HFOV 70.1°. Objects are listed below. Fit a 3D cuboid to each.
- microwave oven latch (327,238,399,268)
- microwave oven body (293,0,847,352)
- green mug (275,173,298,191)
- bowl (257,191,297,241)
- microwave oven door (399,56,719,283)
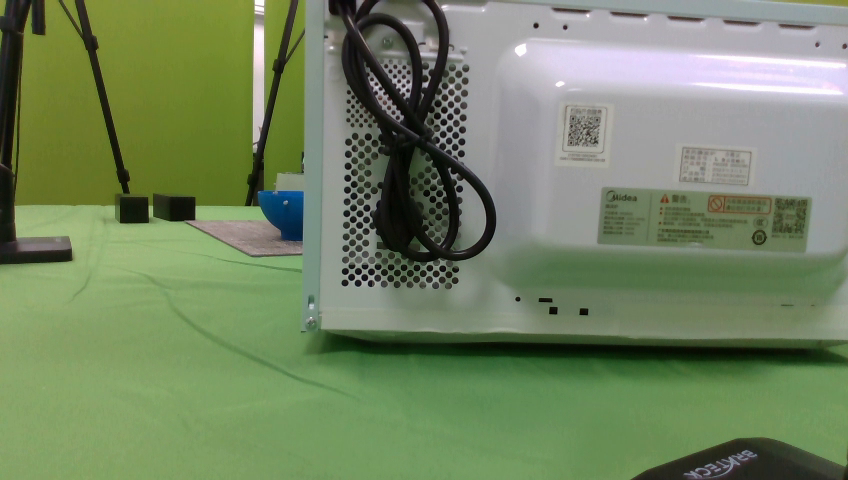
[{"bbox_3d":[-0.069,0.015,0.694,0.079,0.029,0.030,3,7,-3],"label":"microwave oven latch"},{"bbox_3d":[0.122,-0.055,0.550,0.442,0.260,0.325,3,7,-5],"label":"microwave oven body"},{"bbox_3d":[-0.256,-0.083,1.236,0.092,0.105,0.125,2,8,2],"label":"green mug"},{"bbox_3d":[-0.206,-0.041,1.027,0.151,0.077,0.151,3,8,0],"label":"bowl"},{"bbox_3d":[0.155,-0.078,0.698,0.356,0.243,0.039,2,8,-5],"label":"microwave oven door"}]
